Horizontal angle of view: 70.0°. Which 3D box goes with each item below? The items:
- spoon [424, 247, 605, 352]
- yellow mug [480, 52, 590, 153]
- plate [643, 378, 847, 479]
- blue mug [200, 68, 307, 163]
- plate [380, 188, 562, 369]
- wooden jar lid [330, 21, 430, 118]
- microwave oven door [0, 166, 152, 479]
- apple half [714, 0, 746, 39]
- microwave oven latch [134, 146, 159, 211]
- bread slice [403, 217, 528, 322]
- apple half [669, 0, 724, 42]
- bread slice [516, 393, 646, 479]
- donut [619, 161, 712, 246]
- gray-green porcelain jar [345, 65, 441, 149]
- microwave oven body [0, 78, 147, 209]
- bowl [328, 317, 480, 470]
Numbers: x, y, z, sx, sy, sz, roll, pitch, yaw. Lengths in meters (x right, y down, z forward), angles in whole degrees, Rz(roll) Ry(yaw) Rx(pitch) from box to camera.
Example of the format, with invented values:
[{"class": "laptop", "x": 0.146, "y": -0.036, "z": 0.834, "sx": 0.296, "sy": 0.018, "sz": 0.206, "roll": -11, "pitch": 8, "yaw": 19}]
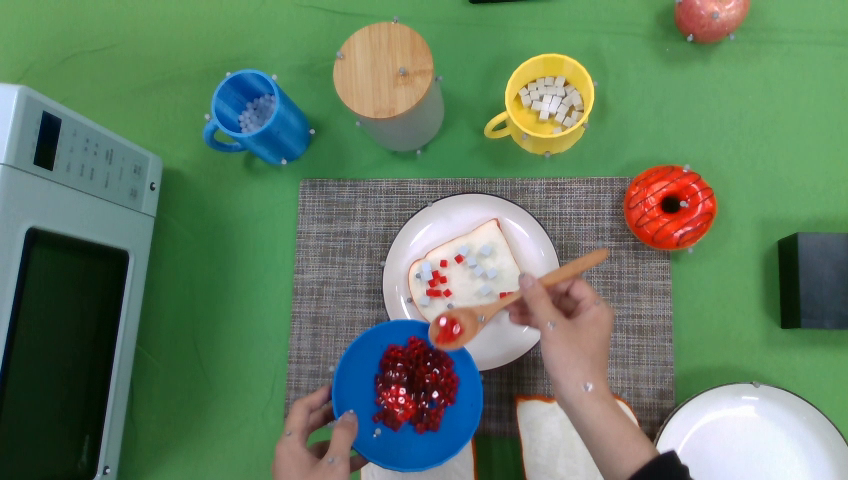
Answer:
[{"class": "spoon", "x": 0.085, "y": 0.057, "z": 0.583, "sx": 0.193, "sy": 0.022, "sz": 0.041, "roll": -30, "pitch": 67, "yaw": 20}, {"class": "yellow mug", "x": 0.127, "y": -0.154, "z": 0.714, "sx": 0.131, "sy": 0.064, "sz": 0.099, "roll": -23, "pitch": 79, "yaw": 5}, {"class": "plate", "x": 0.336, "y": 0.249, "z": 0.636, "sx": 0.209, "sy": 0.038, "sz": 0.208, "roll": -1, "pitch": 81, "yaw": 9}, {"class": "blue mug", "x": -0.213, "y": -0.142, "z": 0.740, "sx": 0.116, "sy": 0.106, "sz": 0.082, "roll": -25, "pitch": 78, "yaw": 4}, {"class": "plate", "x": 0.054, "y": 0.045, "z": 0.704, "sx": 0.207, "sy": 0.039, "sz": 0.207, "roll": -1, "pitch": 81, "yaw": 8}, {"class": "wooden jar lid", "x": -0.046, "y": -0.180, "z": 0.647, "sx": 0.108, "sy": 0.021, "sz": 0.108, "roll": -2, "pitch": 79, "yaw": 9}, {"class": "microwave oven door", "x": -0.394, "y": 0.123, "z": 0.637, "sx": 0.039, "sy": 0.245, "sz": 0.354, "roll": 3, "pitch": 82, "yaw": 9}, {"class": "apple half", "x": 0.336, "y": -0.277, "z": 0.698, "sx": 0.053, "sy": 0.075, "sz": 0.080, "roll": -31, "pitch": 74, "yaw": -3}, {"class": "microwave oven latch", "x": -0.358, "y": -0.078, "z": 0.766, "sx": 0.030, "sy": 0.029, "sz": 0.079, "roll": 6, "pitch": 83, "yaw": 9}, {"class": "bread slice", "x": 0.043, "y": 0.045, "z": 0.709, "sx": 0.131, "sy": 0.019, "sz": 0.104, "roll": -25, "pitch": 78, "yaw": 0}, {"class": "apple half", "x": 0.304, "y": -0.255, "z": 0.698, "sx": 0.033, "sy": 0.081, "sz": 0.081, "roll": -32, "pitch": 78, "yaw": -3}, {"class": "bread slice", "x": 0.169, "y": 0.217, "z": 0.638, "sx": 0.135, "sy": 0.018, "sz": 0.106, "roll": -4, "pitch": 77, "yaw": -13}, {"class": "donut", "x": 0.270, "y": -0.041, "z": 0.683, "sx": 0.099, "sy": 0.048, "sz": 0.098, "roll": -1, "pitch": 82, "yaw": 8}, {"class": "gray-green porcelain jar", "x": -0.036, "y": -0.169, "z": 0.708, "sx": 0.106, "sy": 0.127, "sz": 0.105, "roll": -1, "pitch": 81, "yaw": 8}, {"class": "microwave oven body", "x": -0.533, "y": 0.072, "z": 0.670, "sx": 0.325, "sy": 0.261, "sz": 0.440, "roll": 4, "pitch": 82, "yaw": 8}, {"class": "bowl", "x": -0.024, "y": 0.163, "z": 0.621, "sx": 0.152, "sy": 0.077, "sz": 0.150, "roll": 5, "pitch": 61, "yaw": -9}]
